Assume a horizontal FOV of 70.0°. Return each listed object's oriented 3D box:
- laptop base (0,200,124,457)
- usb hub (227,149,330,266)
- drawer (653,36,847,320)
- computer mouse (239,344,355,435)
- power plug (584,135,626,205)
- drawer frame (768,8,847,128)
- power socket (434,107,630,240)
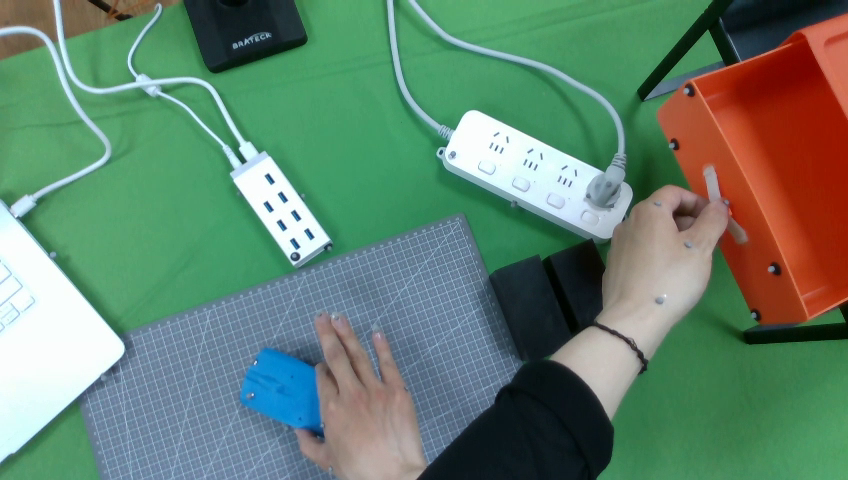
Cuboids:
[{"bbox_3d":[-0.516,0.147,0.623,0.354,0.023,0.235,-43,87,-8],"label":"laptop base"},{"bbox_3d":[-0.160,-0.036,0.664,0.049,0.025,0.125,-36,83,-6],"label":"usb hub"},{"bbox_3d":[0.322,-0.065,0.478,0.212,0.073,0.193,-22,82,-5],"label":"drawer"},{"bbox_3d":[-0.132,0.154,0.625,0.117,0.041,0.062,21,82,5],"label":"computer mouse"},{"bbox_3d":[0.204,-0.071,0.661,0.035,0.053,0.072,38,79,6],"label":"power plug"},{"bbox_3d":[0.409,-0.101,0.487,0.214,0.083,0.201,-22,82,-6],"label":"drawer frame"},{"bbox_3d":[0.123,-0.074,0.677,0.226,0.032,0.072,27,80,3],"label":"power socket"}]
